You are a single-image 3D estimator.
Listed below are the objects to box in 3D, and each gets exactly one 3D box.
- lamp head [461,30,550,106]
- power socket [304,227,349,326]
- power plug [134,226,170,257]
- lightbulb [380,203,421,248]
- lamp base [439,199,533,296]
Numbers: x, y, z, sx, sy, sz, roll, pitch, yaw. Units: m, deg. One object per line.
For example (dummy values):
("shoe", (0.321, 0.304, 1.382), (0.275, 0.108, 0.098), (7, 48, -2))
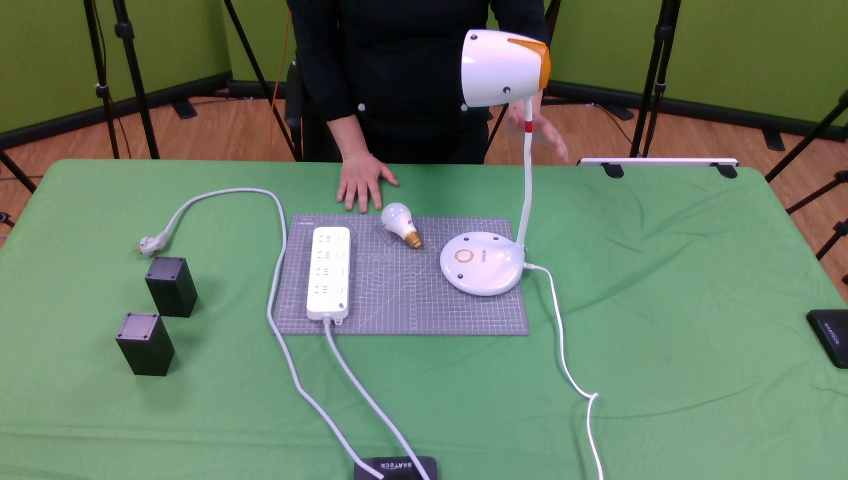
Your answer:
("lamp head", (0.122, -0.250, 0.892), (0.123, 0.113, 0.112), (8, 45, 13))
("power socket", (-0.177, 0.059, 1.115), (0.072, 0.033, 0.225), (-1, 46, -4))
("power plug", (-0.515, 0.005, 1.152), (0.052, 0.035, 0.072), (-5, 24, 7))
("lightbulb", (-0.043, -0.026, 1.198), (0.059, 0.060, 0.107), (-29, 70, -28))
("lamp base", (0.126, -0.011, 1.103), (0.179, 0.181, 0.159), (2, 45, -6))
